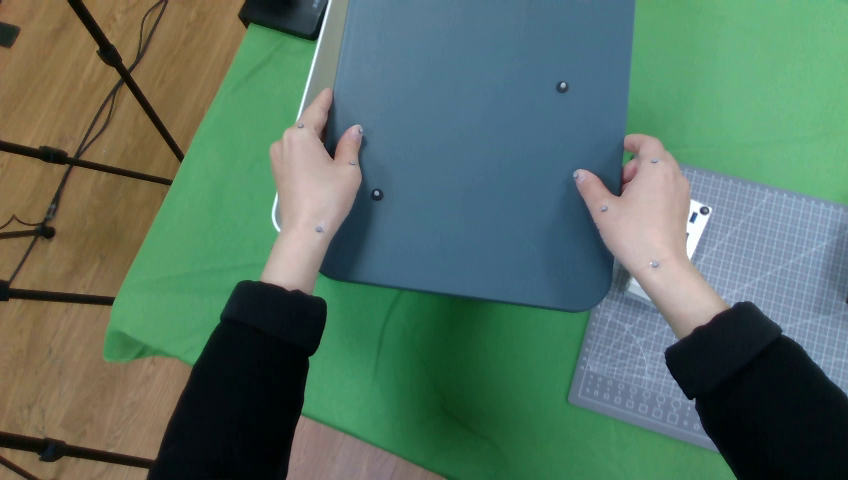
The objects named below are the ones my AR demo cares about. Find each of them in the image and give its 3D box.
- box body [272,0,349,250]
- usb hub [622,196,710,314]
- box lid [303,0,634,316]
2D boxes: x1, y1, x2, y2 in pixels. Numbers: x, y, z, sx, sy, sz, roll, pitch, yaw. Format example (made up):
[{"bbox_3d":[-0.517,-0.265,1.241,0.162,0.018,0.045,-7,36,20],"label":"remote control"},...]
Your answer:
[{"bbox_3d":[0.018,-0.131,0.670,0.253,0.161,0.362,10,77,9],"label":"box body"},{"bbox_3d":[0.269,0.016,0.672,0.049,0.025,0.125,26,81,12],"label":"usb hub"},{"bbox_3d":[0.047,-0.125,0.545,0.263,0.015,0.370,8,79,2],"label":"box lid"}]
